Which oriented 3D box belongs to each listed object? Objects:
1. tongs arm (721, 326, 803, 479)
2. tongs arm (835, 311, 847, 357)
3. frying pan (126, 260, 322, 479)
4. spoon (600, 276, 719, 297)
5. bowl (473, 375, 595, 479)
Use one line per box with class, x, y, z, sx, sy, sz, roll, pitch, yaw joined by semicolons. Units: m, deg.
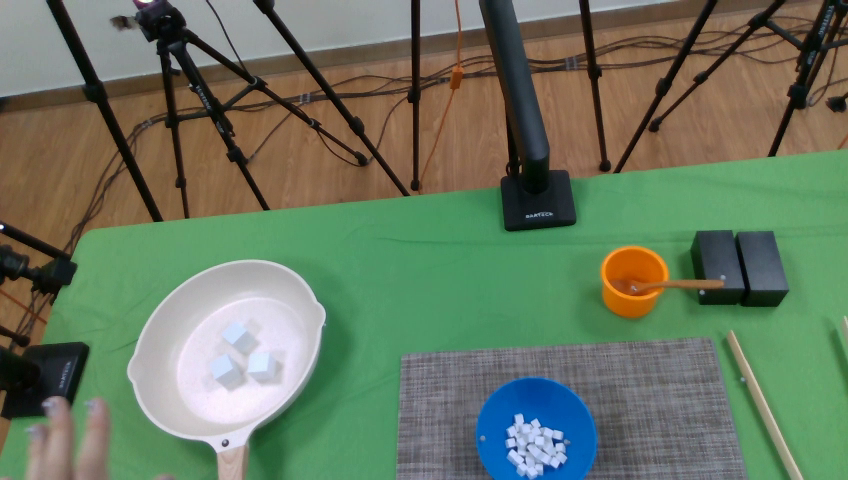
tongs arm;0.464;0.279;0.751;0.028;0.028;0.383;-13;56;0
tongs arm;0.544;0.266;0.739;0.050;0.027;0.381;-4;57;10
frying pan;-0.275;0.242;0.865;0.307;0.104;0.482;-16;47;1
spoon;0.322;0.061;0.846;0.022;0.193;0.041;46;66;-13
bowl;0.143;0.260;0.787;0.151;0.077;0.150;-5;56;7
